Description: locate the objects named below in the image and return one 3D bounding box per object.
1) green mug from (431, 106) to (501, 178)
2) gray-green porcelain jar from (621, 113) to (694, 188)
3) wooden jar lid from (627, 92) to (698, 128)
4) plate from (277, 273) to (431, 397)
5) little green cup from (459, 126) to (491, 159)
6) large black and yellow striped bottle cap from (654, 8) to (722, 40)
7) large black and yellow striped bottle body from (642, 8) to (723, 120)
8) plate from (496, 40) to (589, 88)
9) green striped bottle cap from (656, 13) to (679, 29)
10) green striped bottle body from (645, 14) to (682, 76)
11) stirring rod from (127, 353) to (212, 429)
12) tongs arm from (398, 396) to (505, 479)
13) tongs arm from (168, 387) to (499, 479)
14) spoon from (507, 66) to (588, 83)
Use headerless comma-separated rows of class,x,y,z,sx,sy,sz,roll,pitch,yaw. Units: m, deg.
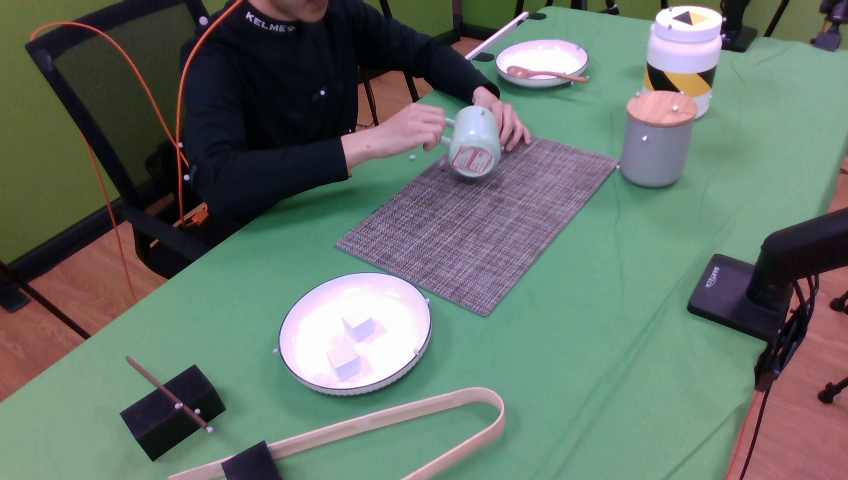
green mug,0.073,-0.175,1.052,0.126,0.092,0.104,16,48,-13
gray-green porcelain jar,0.390,-0.161,1.020,0.106,0.127,0.105,-4,41,4
wooden jar lid,0.384,-0.207,0.980,0.108,0.021,0.108,-6,39,5
plate,-0.091,0.129,0.821,0.207,0.039,0.206,-4,40,4
little green cup,0.099,-0.184,1.150,0.061,0.039,0.061,-4,44,4
large black and yellow striped bottle cap,0.483,-0.397,1.108,0.115,0.019,0.114,-3,41,3
large black and yellow striped bottle body,0.493,-0.334,1.161,0.131,0.185,0.130,-4,41,4
plate,0.269,-0.398,1.381,0.209,0.038,0.208,-4,41,4
green striped bottle cap,0.515,-0.463,1.278,0.044,0.020,0.044,-6,42,6
green striped bottle body,0.520,-0.424,1.312,0.063,0.120,0.063,-4,40,4
stirring rod,-0.311,0.180,0.731,0.175,0.014,0.006,25,53,31
tongs arm,-0.071,0.272,0.652,0.386,0.026,0.050,-21,37,-17
tongs arm,-0.100,0.230,0.711,0.388,0.028,0.028,-13,32,-7
spoon,0.265,-0.357,1.311,0.192,0.022,0.042,18,47,38
